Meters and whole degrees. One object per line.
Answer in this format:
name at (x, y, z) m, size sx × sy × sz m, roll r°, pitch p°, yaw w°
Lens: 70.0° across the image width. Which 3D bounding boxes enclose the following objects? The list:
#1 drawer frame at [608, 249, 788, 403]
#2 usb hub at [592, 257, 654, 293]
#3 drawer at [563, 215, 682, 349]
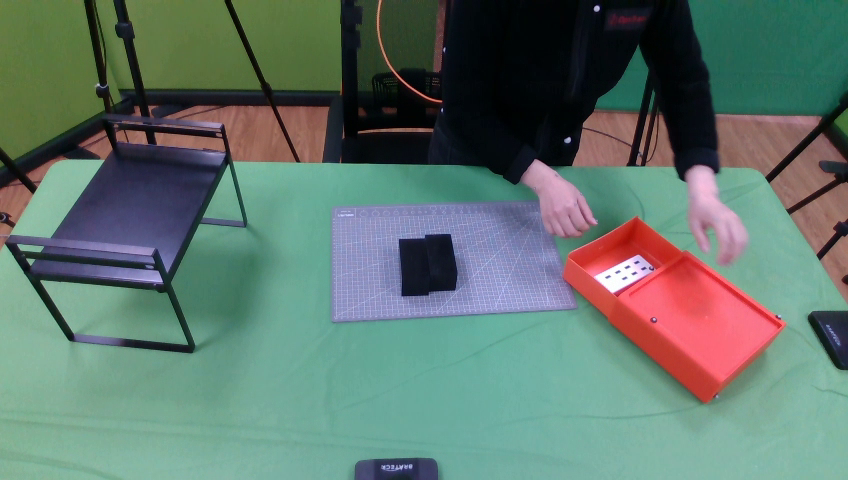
drawer frame at (0.470, 0.139, 1.052) m, size 0.202 × 0.083 × 0.212 m, roll -28°, pitch 54°, yaw -28°
usb hub at (0.375, 0.067, 1.137) m, size 0.125 × 0.025 × 0.049 m, roll -14°, pitch 39°, yaw -28°
drawer at (0.400, 0.072, 1.119) m, size 0.194 × 0.073 × 0.210 m, roll -26°, pitch 54°, yaw -26°
